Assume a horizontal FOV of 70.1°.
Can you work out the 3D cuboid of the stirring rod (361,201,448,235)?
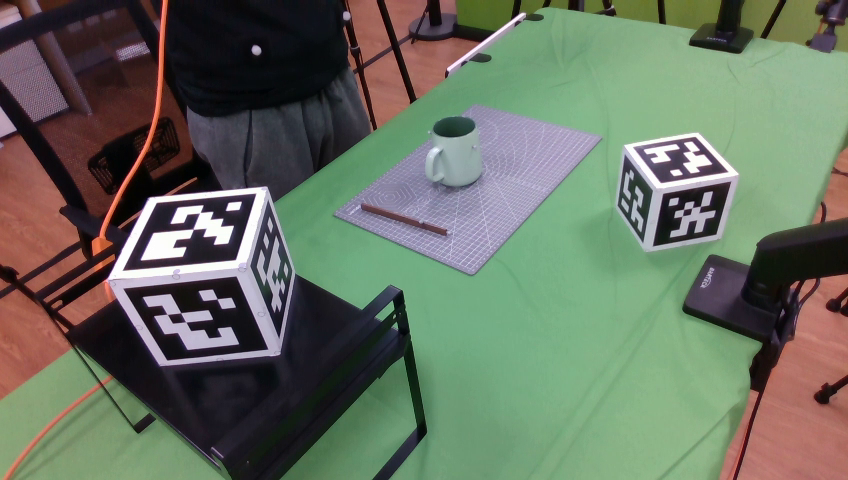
[{"bbox_3d":[-0.035,-0.038,1.019,0.175,0.014,0.006,19,53,27],"label":"stirring rod"}]

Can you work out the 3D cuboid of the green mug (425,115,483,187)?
[{"bbox_3d":[0.047,-0.149,1.068,0.092,0.105,0.125,24,50,31],"label":"green mug"}]
